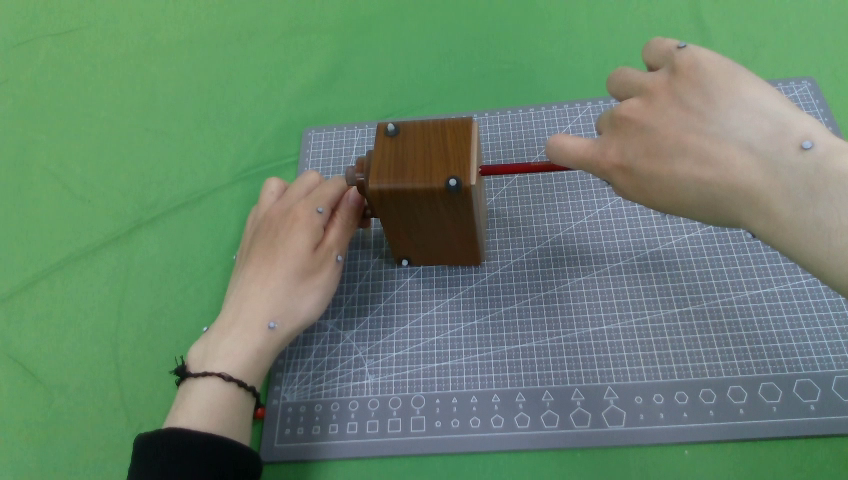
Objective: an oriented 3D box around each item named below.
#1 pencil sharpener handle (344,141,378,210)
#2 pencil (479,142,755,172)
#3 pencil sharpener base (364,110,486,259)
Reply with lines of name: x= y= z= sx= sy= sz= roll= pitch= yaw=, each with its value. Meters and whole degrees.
pencil sharpener handle: x=-0.048 y=-0.042 z=0.434 sx=0.030 sy=0.068 sz=0.035 roll=0 pitch=60 yaw=9
pencil: x=0.118 y=-0.054 z=0.402 sx=0.194 sy=0.012 sz=0.012 roll=-3 pitch=58 yaw=5
pencil sharpener base: x=0.004 y=-0.036 z=0.437 sx=0.076 sy=0.108 sz=0.061 roll=-1 pitch=59 yaw=9
